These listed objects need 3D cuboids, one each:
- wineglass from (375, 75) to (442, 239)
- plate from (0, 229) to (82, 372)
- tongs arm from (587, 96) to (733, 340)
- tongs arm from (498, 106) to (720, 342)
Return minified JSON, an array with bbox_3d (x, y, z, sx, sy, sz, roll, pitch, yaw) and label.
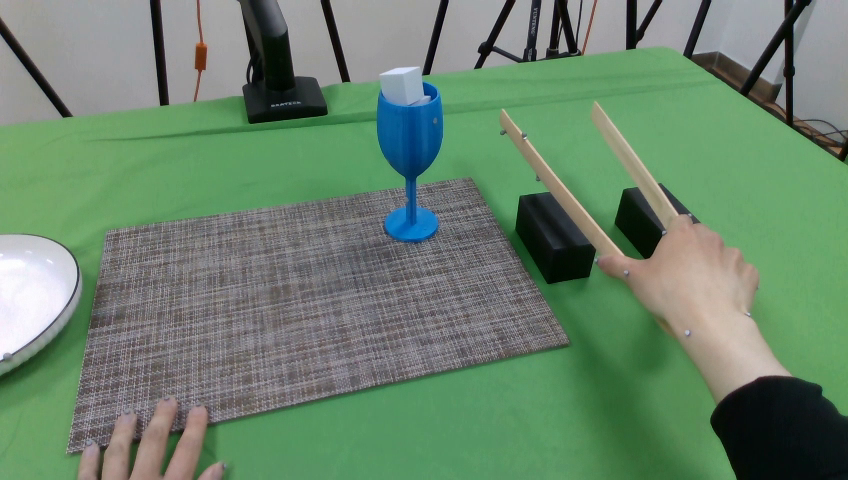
[{"bbox_3d":[-0.017,-0.088,0.670,0.074,0.174,0.073,1,41,0],"label":"wineglass"},{"bbox_3d":[-0.441,0.068,0.587,0.209,0.038,0.207,1,40,0],"label":"plate"},{"bbox_3d":[0.239,-0.051,0.657,0.028,0.028,0.383,0,42,-10],"label":"tongs arm"},{"bbox_3d":[0.172,-0.041,0.643,0.051,0.027,0.380,-9,43,-15],"label":"tongs arm"}]
